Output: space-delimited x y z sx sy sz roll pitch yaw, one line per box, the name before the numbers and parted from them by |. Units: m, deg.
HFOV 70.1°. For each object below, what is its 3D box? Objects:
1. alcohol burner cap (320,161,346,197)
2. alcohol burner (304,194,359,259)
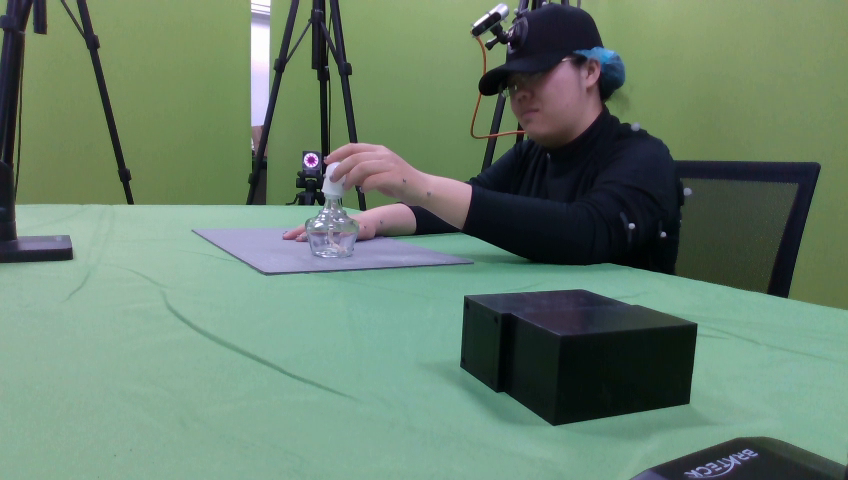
alcohol burner cap | -0.125 -0.086 0.844 0.034 0.048 0.034 11 11 -2
alcohol burner | -0.130 -0.034 0.851 0.078 0.119 0.078 2 5 0
